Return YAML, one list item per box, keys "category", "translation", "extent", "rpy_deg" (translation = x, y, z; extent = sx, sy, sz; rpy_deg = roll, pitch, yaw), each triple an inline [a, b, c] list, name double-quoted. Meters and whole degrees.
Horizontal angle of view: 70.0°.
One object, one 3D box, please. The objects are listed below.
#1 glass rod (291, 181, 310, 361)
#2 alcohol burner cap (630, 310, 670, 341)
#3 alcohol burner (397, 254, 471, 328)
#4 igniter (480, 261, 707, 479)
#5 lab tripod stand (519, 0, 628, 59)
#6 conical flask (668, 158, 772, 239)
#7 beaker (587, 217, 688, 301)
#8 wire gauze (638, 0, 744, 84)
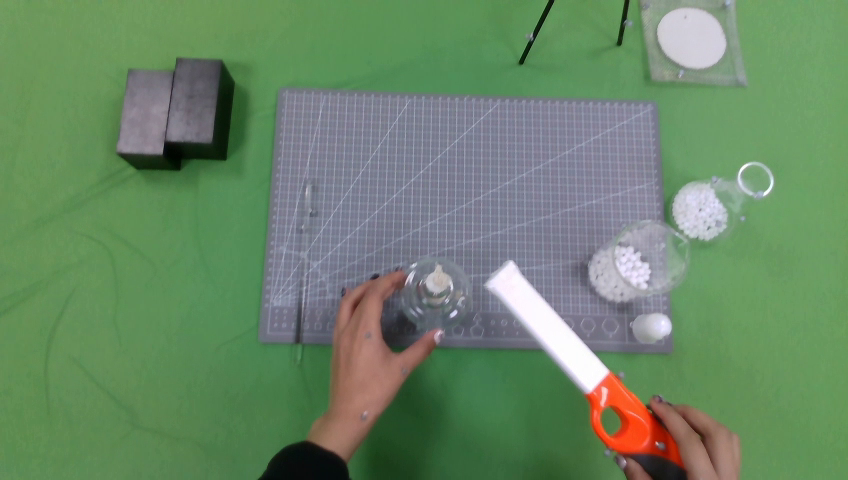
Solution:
- category: "glass rod"
  translation: [-0.135, 0.032, 0.665]
  extent: [0.008, 0.008, 0.199]
  rpy_deg: [3, 80, -1]
- category: "alcohol burner cap"
  translation: [0.244, 0.089, 0.648]
  extent: [0.034, 0.048, 0.033]
  rpy_deg: [1, 77, -2]
- category: "alcohol burner"
  translation: [0.010, 0.048, 0.613]
  extent: [0.078, 0.119, 0.077]
  rpy_deg: [0, 76, 1]
- category: "igniter"
  translation: [0.151, 0.130, 0.522]
  extent: [0.057, 0.025, 0.277]
  rpy_deg: [-43, 93, -12]
- category: "lab tripod stand"
  translation: [0.171, -0.279, 0.683]
  extent: [0.148, 0.132, 0.147]
  rpy_deg: [0, 79, -2]
- category: "conical flask"
  translation: [0.317, -0.049, 0.643]
  extent: [0.075, 0.122, 0.075]
  rpy_deg: [0, 77, -1]
- category: "beaker"
  translation: [0.218, 0.023, 0.632]
  extent: [0.084, 0.100, 0.073]
  rpy_deg: [-22, 79, -7]
- category: "wire gauze"
  translation: [0.330, -0.252, 0.746]
  extent: [0.125, 0.011, 0.121]
  rpy_deg: [0, 78, -4]
